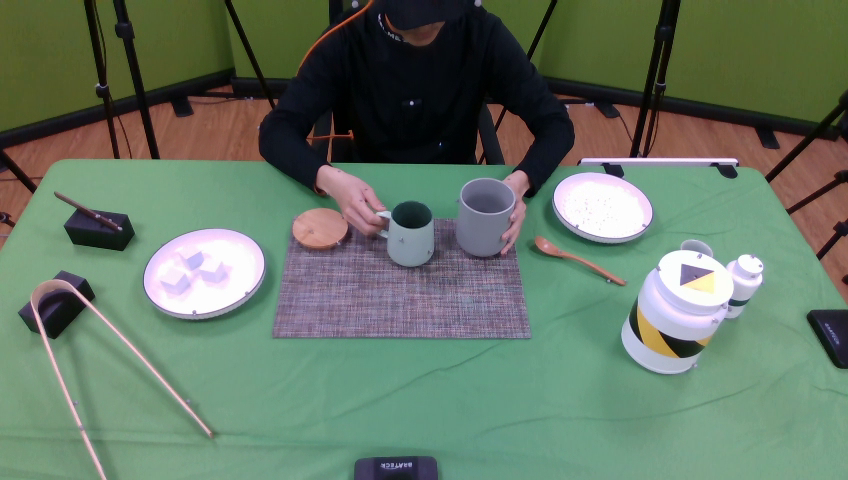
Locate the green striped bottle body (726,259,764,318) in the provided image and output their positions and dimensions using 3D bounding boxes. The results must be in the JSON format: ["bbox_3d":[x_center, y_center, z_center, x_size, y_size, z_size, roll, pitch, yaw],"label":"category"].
[{"bbox_3d":[0.563,0.081,1.089,0.063,0.120,0.063,2,46,-2],"label":"green striped bottle body"}]

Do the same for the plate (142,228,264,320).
[{"bbox_3d":[-0.394,0.064,1.095,0.208,0.039,0.206,2,46,-2],"label":"plate"}]

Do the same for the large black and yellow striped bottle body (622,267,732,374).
[{"bbox_3d":[0.415,0.119,0.997,0.131,0.185,0.130,2,46,-2],"label":"large black and yellow striped bottle body"}]

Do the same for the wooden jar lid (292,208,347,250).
[{"bbox_3d":[-0.206,-0.020,1.197,0.108,0.021,0.107,3,46,-3],"label":"wooden jar lid"}]

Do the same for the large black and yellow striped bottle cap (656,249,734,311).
[{"bbox_3d":[0.419,0.061,0.938,0.115,0.019,0.114,2,47,-2],"label":"large black and yellow striped bottle cap"}]

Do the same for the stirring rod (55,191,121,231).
[{"bbox_3d":[-0.632,-0.055,1.138,0.175,0.014,0.006,24,50,19],"label":"stirring rod"}]

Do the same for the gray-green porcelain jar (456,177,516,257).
[{"bbox_3d":[0.116,-0.039,1.160,0.106,0.127,0.105,1,46,-1],"label":"gray-green porcelain jar"}]

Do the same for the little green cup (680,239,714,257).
[{"bbox_3d":[0.530,0.033,1.189,0.061,0.039,0.061,2,47,-2],"label":"little green cup"}]

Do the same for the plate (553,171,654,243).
[{"bbox_3d":[0.373,-0.066,1.274,0.209,0.038,0.208,2,46,-2],"label":"plate"}]

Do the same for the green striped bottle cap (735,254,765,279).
[{"bbox_3d":[0.566,0.046,1.051,0.044,0.020,0.044,0,45,0],"label":"green striped bottle cap"}]

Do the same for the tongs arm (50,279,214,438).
[{"bbox_3d":[-0.459,0.178,0.949,0.386,0.028,0.028,37,60,17],"label":"tongs arm"}]

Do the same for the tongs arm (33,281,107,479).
[{"bbox_3d":[-0.517,0.214,0.910,0.051,0.026,0.383,-28,63,-27],"label":"tongs arm"}]

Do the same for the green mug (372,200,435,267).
[{"bbox_3d":[-0.040,-0.015,1.146,0.125,0.105,0.092,17,48,13],"label":"green mug"}]

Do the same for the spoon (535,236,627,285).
[{"bbox_3d":[0.303,0.040,1.178,0.193,0.022,0.041,25,33,20],"label":"spoon"}]
